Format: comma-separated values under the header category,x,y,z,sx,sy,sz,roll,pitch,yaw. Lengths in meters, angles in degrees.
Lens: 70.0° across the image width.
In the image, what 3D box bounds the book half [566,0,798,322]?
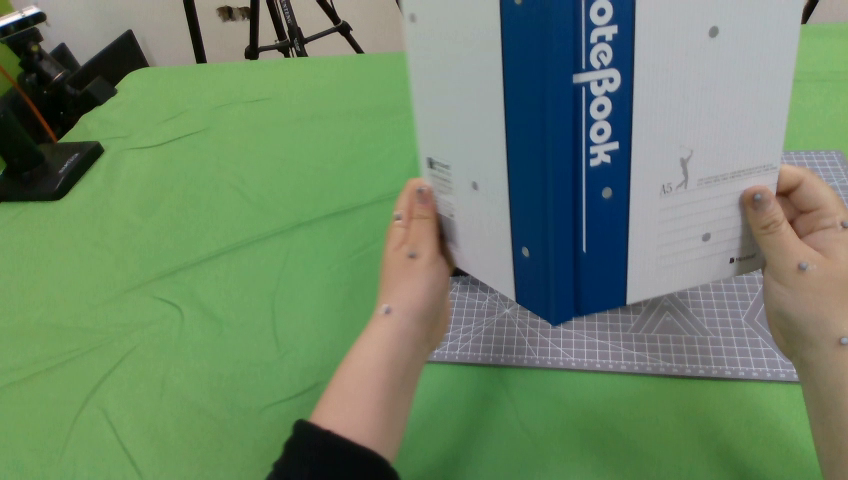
category,x,y,z,sx,sy,sz,roll,pitch,yaw
book half,0.144,-0.059,0.345,0.143,0.211,0.007,-13,25,-13

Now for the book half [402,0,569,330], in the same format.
category,x,y,z,sx,sy,sz,roll,pitch,yaw
book half,0.035,-0.063,0.380,0.016,0.212,0.147,-19,27,-25
